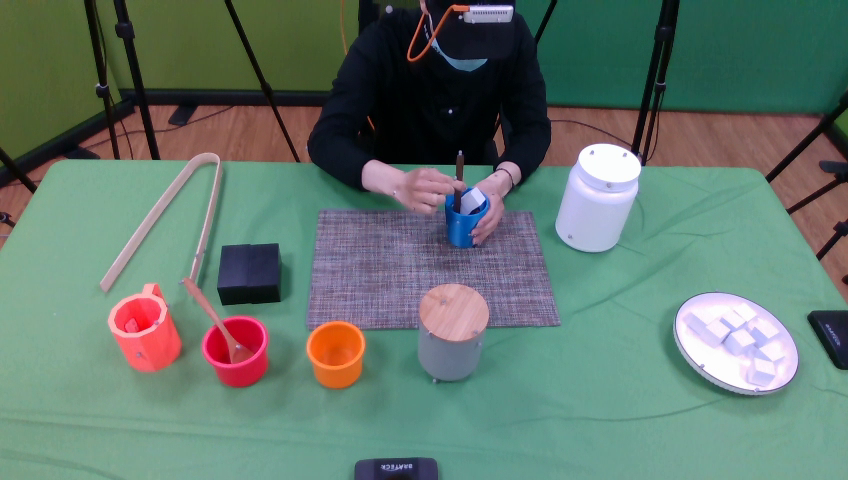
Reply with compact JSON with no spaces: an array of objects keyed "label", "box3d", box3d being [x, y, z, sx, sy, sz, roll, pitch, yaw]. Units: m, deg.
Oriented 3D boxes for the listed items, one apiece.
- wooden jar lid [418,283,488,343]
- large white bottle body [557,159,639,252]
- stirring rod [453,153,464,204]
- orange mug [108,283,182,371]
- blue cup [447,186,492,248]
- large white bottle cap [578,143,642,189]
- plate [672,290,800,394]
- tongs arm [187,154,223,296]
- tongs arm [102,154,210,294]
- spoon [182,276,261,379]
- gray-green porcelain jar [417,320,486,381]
[{"label":"wooden jar lid","box3d":[0.045,0.114,0.931,0.108,0.021,0.107,2,49,-2]},{"label":"large white bottle body","box3d":[0.340,-0.081,1.185,0.131,0.185,0.130,2,46,-1]},{"label":"stirring rod","box3d":[0.062,-0.085,1.127,0.014,0.177,0.006,-14,41,-19]},{"label":"orange mug","box3d":[-0.445,0.134,0.982,0.083,0.101,0.125,-1,50,-5]},{"label":"blue cup","box3d":[0.083,-0.040,1.183,0.093,0.100,0.092,4,44,-4]},{"label":"large white bottle cap","box3d":[0.344,-0.139,1.123,0.115,0.018,0.114,2,46,-2]},{"label":"plate","box3d":[0.533,0.179,1.050,0.208,0.039,0.206,2,46,-2]},{"label":"tongs arm","box3d":[-0.442,-0.045,1.199,0.051,0.027,0.382,-3,46,1]},{"label":"tongs arm","box3d":[-0.524,-0.046,1.203,0.028,0.028,0.385,4,45,13]},{"label":"spoon","box3d":[-0.321,0.137,0.957,0.041,0.021,0.194,-36,102,-32]},{"label":"gray-green porcelain jar","box3d":[0.042,0.158,0.975,0.106,0.127,0.105,2,46,-2]}]
